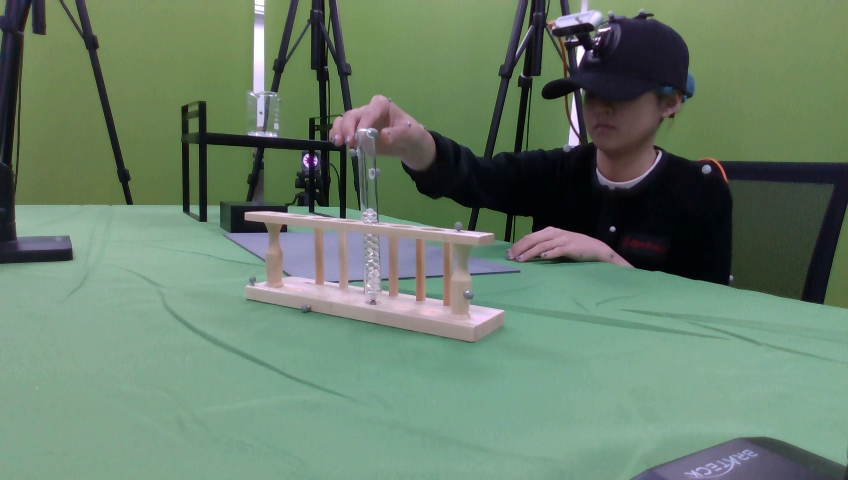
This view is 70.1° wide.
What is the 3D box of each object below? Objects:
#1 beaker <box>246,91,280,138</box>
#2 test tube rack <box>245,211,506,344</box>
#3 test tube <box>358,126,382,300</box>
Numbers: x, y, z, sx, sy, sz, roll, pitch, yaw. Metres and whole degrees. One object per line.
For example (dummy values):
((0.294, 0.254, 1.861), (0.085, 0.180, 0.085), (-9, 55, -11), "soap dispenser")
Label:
((-0.361, -0.279, 1.351), (0.074, 0.100, 0.084), (3, 8, 1), "beaker")
((-0.049, 0.025, 0.547), (0.241, 0.085, 0.067), (7, 8, 28), "test tube rack")
((-0.046, -0.022, 0.521), (0.017, 0.150, 0.017), (-1, 8, 1), "test tube")
